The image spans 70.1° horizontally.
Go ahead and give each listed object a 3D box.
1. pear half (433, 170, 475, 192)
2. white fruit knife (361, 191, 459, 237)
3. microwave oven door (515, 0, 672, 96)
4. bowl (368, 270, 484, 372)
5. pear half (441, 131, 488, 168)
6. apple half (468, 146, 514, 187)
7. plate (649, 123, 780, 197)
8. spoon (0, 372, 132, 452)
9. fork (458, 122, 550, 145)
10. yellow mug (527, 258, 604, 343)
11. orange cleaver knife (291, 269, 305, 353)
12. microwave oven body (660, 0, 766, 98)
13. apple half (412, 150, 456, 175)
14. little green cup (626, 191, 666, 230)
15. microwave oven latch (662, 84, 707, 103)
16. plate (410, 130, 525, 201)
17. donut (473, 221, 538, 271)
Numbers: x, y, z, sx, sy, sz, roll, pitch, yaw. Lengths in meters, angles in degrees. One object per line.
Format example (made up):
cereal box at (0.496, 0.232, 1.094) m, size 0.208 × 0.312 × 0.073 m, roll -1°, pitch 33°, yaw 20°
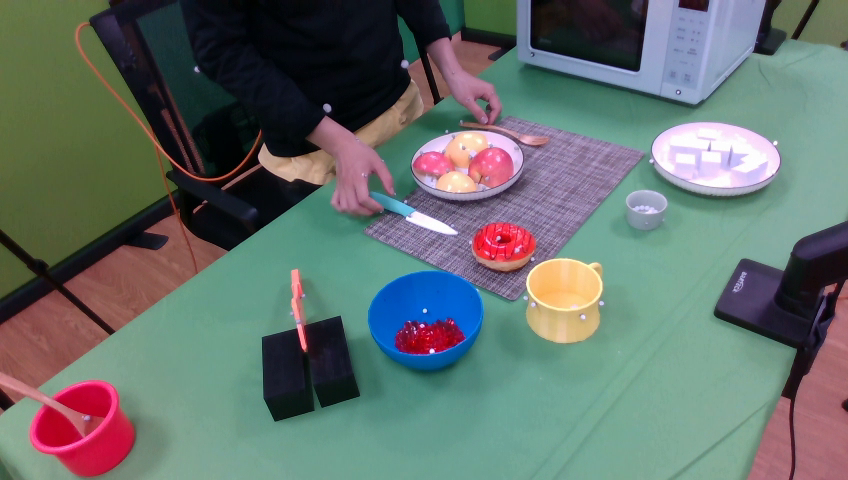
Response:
pear half at (0.052, -0.105, 1.052) m, size 0.071 × 0.031 × 0.087 m, roll -5°, pitch 33°, yaw -30°
white fruit knife at (-0.025, -0.045, 1.033) m, size 0.206 × 0.016 × 0.027 m, roll 24°, pitch 80°, yaw 29°
microwave oven door at (0.343, -0.454, 1.259) m, size 0.353 × 0.245 × 0.039 m, roll 26°, pitch 51°, yaw 33°
bowl at (0.006, 0.118, 0.791) m, size 0.151 × 0.077 × 0.150 m, roll -5°, pitch 40°, yaw 4°
pear half at (0.064, -0.174, 1.129) m, size 0.110 × 0.056 × 0.076 m, roll -7°, pitch 36°, yaw 5°
apple half at (0.119, -0.137, 1.073) m, size 0.080 × 0.053 × 0.075 m, roll 25°, pitch 49°, yaw 38°
plate at (0.497, -0.135, 1.046) m, size 0.207 × 0.039 × 0.206 m, roll -4°, pitch 40°, yaw 4°
spoon at (-0.439, 0.195, 0.715) m, size 0.195 × 0.021 × 0.041 m, roll 37°, pitch 41°, yaw -16°
fork at (0.154, -0.215, 1.205) m, size 0.206 × 0.019 × 0.028 m, roll 20°, pitch 54°, yaw 29°
yellow mug at (0.201, 0.073, 0.825) m, size 0.131 × 0.064 × 0.099 m, roll -32°, pitch 46°, yaw -27°
orange cleaver knife at (-0.175, 0.093, 0.844) m, size 0.012 × 0.077 × 0.210 m, roll -11°, pitch 15°, yaw -10°
microwave oven body at (0.472, -0.513, 1.317) m, size 0.438 × 0.261 × 0.327 m, roll 26°, pitch 51°, yaw 34°
apple half at (0.022, -0.144, 1.097) m, size 0.081 × 0.033 × 0.081 m, roll 7°, pitch 23°, yaw -3°
little green cup at (0.352, -0.046, 0.963) m, size 0.061 × 0.039 × 0.061 m, roll -4°, pitch 40°, yaw 4°
microwave oven latch at (0.517, -0.296, 1.204) m, size 0.078 × 0.029 × 0.030 m, roll 27°, pitch 52°, yaw 35°
plate at (0.079, -0.133, 1.101) m, size 0.209 × 0.038 × 0.208 m, roll -4°, pitch 40°, yaw 4°
donut at (0.123, 0.008, 0.923) m, size 0.099 × 0.048 × 0.098 m, roll -3°, pitch 38°, yaw 3°
